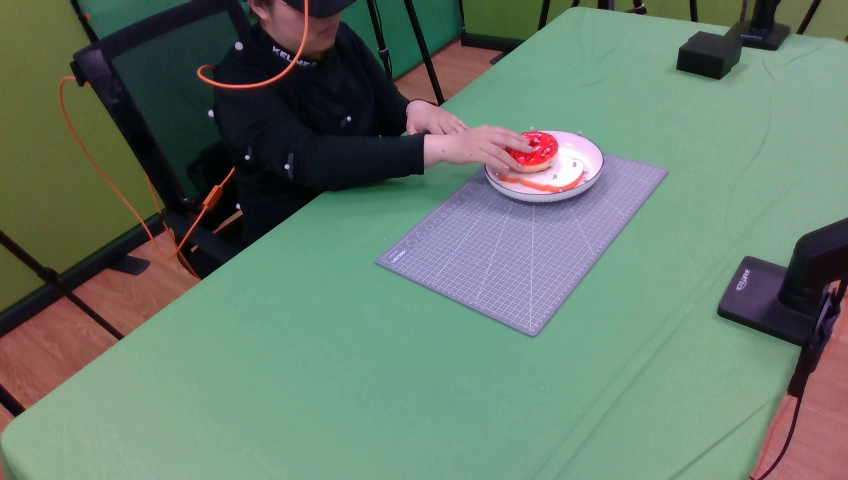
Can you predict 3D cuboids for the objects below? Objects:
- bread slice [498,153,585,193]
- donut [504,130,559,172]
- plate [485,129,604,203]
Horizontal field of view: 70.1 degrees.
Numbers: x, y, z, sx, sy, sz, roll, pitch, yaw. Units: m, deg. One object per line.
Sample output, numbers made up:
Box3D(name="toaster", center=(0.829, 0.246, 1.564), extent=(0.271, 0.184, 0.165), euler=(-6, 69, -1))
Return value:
Box3D(name="bread slice", center=(0.216, -0.125, 1.076), extent=(0.133, 0.018, 0.107), euler=(16, 47, 28))
Box3D(name="donut", center=(0.191, -0.159, 1.077), extent=(0.099, 0.048, 0.098), euler=(-8, 40, 7))
Box3D(name="plate", center=(0.213, -0.129, 1.079), extent=(0.209, 0.038, 0.208), euler=(-5, 40, 5))
